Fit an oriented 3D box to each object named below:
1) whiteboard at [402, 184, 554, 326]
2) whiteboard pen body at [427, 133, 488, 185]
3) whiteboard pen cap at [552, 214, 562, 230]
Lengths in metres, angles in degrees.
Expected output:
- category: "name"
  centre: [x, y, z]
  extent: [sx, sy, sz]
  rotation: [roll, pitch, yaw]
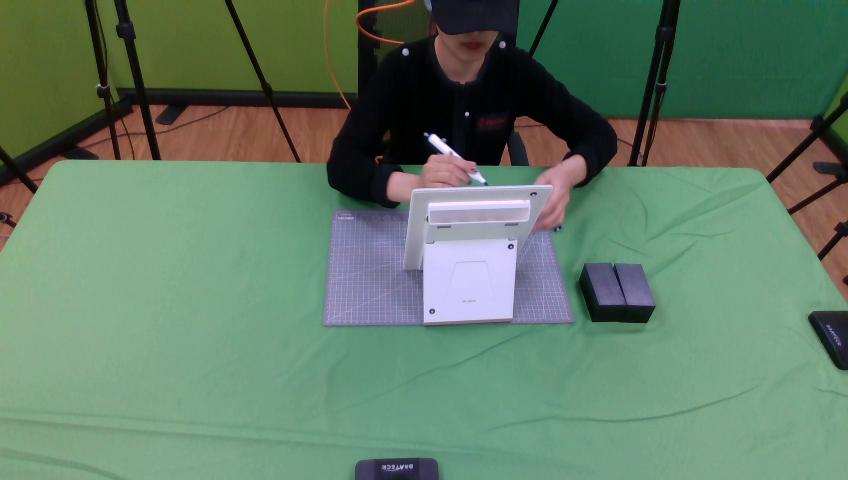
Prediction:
- category: "whiteboard"
  centre: [0.081, 0.044, 1.005]
  extent: [0.217, 0.306, 0.143]
  rotation: [-1, 65, -6]
- category: "whiteboard pen body"
  centre: [0.058, -0.138, 1.039]
  extent: [0.140, 0.017, 0.017]
  rotation: [43, 57, 17]
- category: "whiteboard pen cap"
  centre: [0.275, -0.037, 1.260]
  extent: [0.018, 0.018, 0.033]
  rotation: [1, 44, -2]
